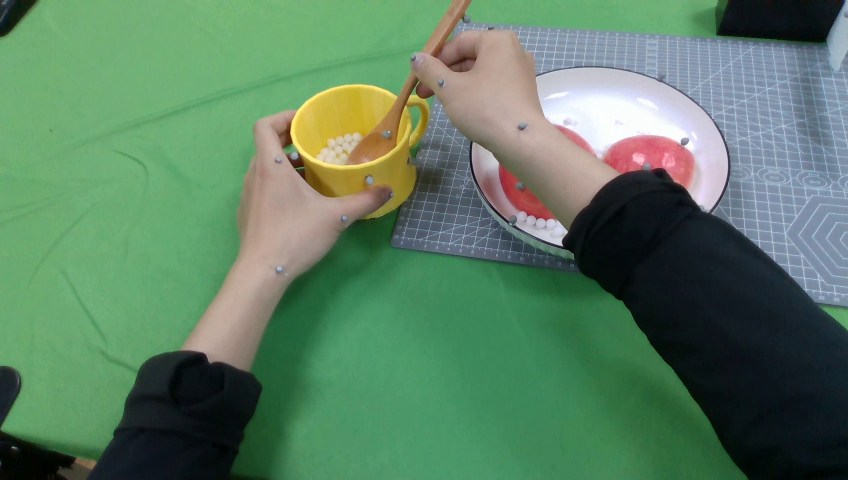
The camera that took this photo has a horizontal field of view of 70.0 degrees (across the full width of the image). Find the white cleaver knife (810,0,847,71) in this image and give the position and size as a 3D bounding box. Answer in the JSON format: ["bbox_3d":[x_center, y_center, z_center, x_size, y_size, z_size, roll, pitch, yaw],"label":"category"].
[{"bbox_3d":[0.389,-0.197,0.561,0.021,0.066,0.284,5,52,15],"label":"white cleaver knife"}]

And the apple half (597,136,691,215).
[{"bbox_3d":[0.182,-0.062,0.498,0.081,0.033,0.080,-3,58,5],"label":"apple half"}]

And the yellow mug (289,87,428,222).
[{"bbox_3d":[-0.048,-0.082,0.525,0.131,0.064,0.099,-35,60,-23],"label":"yellow mug"}]

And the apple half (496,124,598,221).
[{"bbox_3d":[0.100,-0.064,0.496,0.081,0.054,0.074,-29,55,-13],"label":"apple half"}]

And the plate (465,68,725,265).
[{"bbox_3d":[0.139,-0.063,0.512,0.209,0.038,0.207,-3,56,4],"label":"plate"}]

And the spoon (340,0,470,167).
[{"bbox_3d":[-0.014,-0.119,0.486,0.041,0.194,0.022,44,26,22],"label":"spoon"}]
